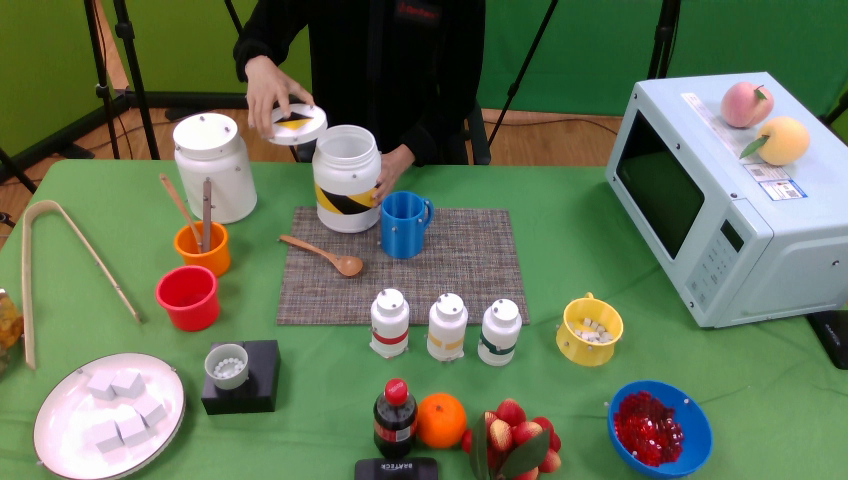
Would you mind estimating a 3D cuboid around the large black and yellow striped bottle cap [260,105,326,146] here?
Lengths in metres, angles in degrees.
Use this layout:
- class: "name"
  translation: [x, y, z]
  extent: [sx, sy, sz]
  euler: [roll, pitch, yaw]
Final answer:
- class: "large black and yellow striped bottle cap"
  translation: [-0.234, -0.206, 1.083]
  extent: [0.115, 0.019, 0.114]
  euler: [-2, 43, 2]

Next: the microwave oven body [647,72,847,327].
- class: "microwave oven body"
  translation: [0.607, -0.089, 1.164]
  extent: [0.326, 0.261, 0.438]
  euler: [-7, 46, -10]

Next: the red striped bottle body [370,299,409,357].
- class: "red striped bottle body"
  translation: [-0.057, 0.135, 0.997]
  extent: [0.063, 0.120, 0.062]
  euler: [2, 47, -2]

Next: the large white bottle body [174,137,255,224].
- class: "large white bottle body"
  translation: [-0.408, -0.136, 1.183]
  extent: [0.131, 0.185, 0.130]
  euler: [2, 46, -2]

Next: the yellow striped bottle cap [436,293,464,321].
- class: "yellow striped bottle cap"
  translation: [0.041, 0.106, 0.959]
  extent: [0.044, 0.019, 0.044]
  euler: [-1, 49, 1]

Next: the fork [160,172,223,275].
- class: "fork"
  translation: [-0.426, -0.030, 1.103]
  extent: [0.028, 0.018, 0.207]
  euler: [-29, 99, -20]

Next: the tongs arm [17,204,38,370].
- class: "tongs arm"
  translation: [-0.698, 0.069, 1.068]
  extent: [0.028, 0.028, 0.385]
  euler: [-20, 50, -13]

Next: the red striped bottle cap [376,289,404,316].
- class: "red striped bottle cap"
  translation: [-0.054, 0.098, 0.958]
  extent: [0.044, 0.018, 0.044]
  euler: [0, 48, 0]

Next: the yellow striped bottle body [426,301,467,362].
- class: "yellow striped bottle body"
  translation: [0.037, 0.142, 0.996]
  extent: [0.063, 0.121, 0.062]
  euler: [2, 46, -2]

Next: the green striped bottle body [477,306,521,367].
- class: "green striped bottle body"
  translation: [0.124, 0.151, 0.995]
  extent: [0.063, 0.120, 0.063]
  euler: [2, 46, -2]

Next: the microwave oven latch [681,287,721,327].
- class: "microwave oven latch"
  translation: [0.494, 0.119, 1.087]
  extent: [0.030, 0.029, 0.078]
  euler: [-6, 46, -9]

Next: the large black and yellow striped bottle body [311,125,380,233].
- class: "large black and yellow striped bottle body"
  translation: [-0.151, -0.119, 1.182]
  extent: [0.131, 0.185, 0.130]
  euler: [3, 45, -2]

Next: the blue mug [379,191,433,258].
- class: "blue mug"
  translation: [-0.031, -0.035, 1.167]
  extent: [0.116, 0.106, 0.082]
  euler: [-26, 54, -27]

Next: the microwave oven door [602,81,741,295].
- class: "microwave oven door"
  translation: [0.456, -0.107, 1.162]
  extent: [0.039, 0.245, 0.353]
  euler: [-6, 47, -11]

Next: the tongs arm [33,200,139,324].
- class: "tongs arm"
  translation: [-0.622, 0.034, 1.105]
  extent: [0.051, 0.026, 0.382]
  euler: [-32, 56, -26]

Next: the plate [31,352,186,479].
- class: "plate"
  translation: [-0.459, 0.262, 0.898]
  extent: [0.209, 0.038, 0.208]
  euler: [2, 46, -2]

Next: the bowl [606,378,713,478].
- class: "bowl"
  translation: [0.340, 0.292, 0.906]
  extent: [0.151, 0.077, 0.150]
  euler: [2, 46, -2]

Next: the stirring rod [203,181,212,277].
- class: "stirring rod"
  translation: [-0.396, -0.021, 1.108]
  extent: [0.014, 0.006, 0.176]
  euler: [-1, 89, -1]

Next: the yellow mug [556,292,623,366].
- class: "yellow mug"
  translation: [0.285, 0.145, 1.051]
  extent: [0.100, 0.064, 0.130]
  euler: [7, 45, 3]

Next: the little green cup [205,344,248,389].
- class: "little green cup"
  translation: [-0.294, 0.191, 0.909]
  extent: [0.061, 0.039, 0.061]
  euler: [1, 48, -1]

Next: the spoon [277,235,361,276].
- class: "spoon"
  translation: [-0.202, 0.023, 1.155]
  extent: [0.193, 0.022, 0.041]
  euler: [23, 71, 17]

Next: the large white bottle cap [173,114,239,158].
- class: "large white bottle cap"
  translation: [-0.403, -0.195, 1.122]
  extent: [0.115, 0.018, 0.114]
  euler: [2, 47, -2]

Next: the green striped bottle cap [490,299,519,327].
- class: "green striped bottle cap"
  translation: [0.127, 0.115, 0.958]
  extent: [0.044, 0.020, 0.044]
  euler: [2, 48, -2]
